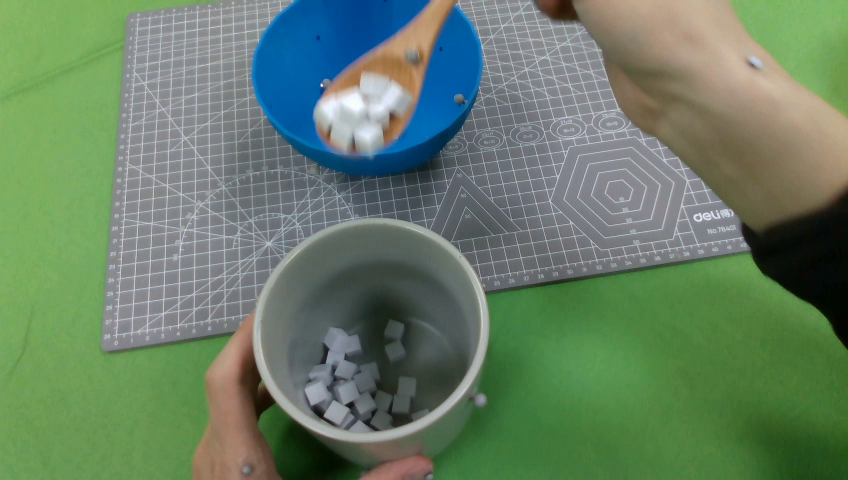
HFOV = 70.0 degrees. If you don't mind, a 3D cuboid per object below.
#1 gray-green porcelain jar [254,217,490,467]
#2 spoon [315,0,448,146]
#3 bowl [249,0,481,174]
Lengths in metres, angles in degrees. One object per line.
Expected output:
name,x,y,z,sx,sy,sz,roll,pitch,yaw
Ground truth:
gray-green porcelain jar,-0.021,0.062,0.324,0.106,0.127,0.105,-1,64,2
spoon,0.017,-0.122,0.278,0.041,0.022,0.194,41,100,9
bowl,-0.037,-0.100,0.425,0.151,0.077,0.150,-1,64,1
